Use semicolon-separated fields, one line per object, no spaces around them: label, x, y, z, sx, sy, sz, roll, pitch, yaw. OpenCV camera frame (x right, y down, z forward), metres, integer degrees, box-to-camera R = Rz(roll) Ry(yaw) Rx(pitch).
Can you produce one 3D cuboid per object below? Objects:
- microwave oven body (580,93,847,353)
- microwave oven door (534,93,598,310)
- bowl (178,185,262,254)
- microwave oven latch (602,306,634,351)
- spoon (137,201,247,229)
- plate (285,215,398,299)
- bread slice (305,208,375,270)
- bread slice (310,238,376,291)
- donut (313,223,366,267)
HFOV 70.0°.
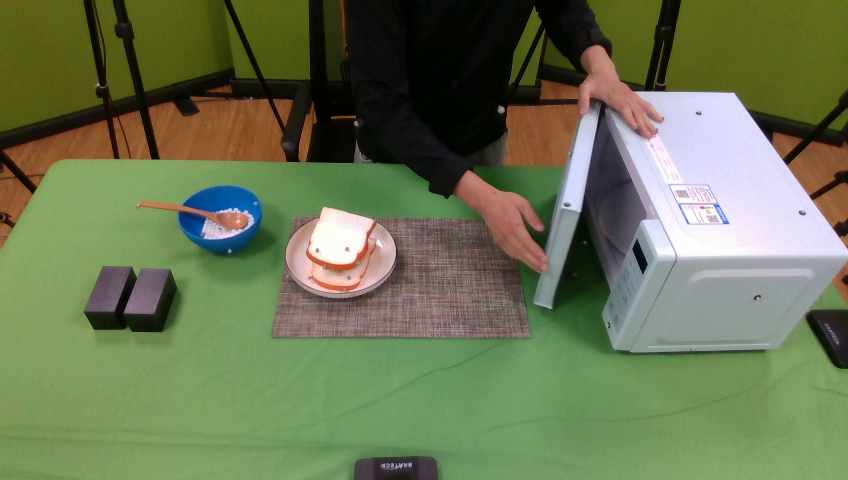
microwave oven body;0.476;-0.041;1.110;0.326;0.261;0.438;-1;45;-4
microwave oven door;0.270;-0.081;1.126;0.039;0.245;0.354;14;46;9
bowl;-0.383;-0.027;1.158;0.151;0.077;0.150;2;46;-2
microwave oven latch;0.332;0.153;1.044;0.030;0.029;0.078;0;45;-4
spoon;-0.431;-0.052;1.134;0.194;0.022;0.041;14;45;-22
plate;-0.154;0.034;1.141;0.208;0.039;0.206;2;46;-2
bread slice;-0.154;-0.001;1.095;0.105;0.019;0.131;15;48;1
bread slice;-0.154;0.039;1.135;0.107;0.018;0.133;7;46;3
donut;-0.157;0.010;1.120;0.099;0.048;0.098;0;44;0
